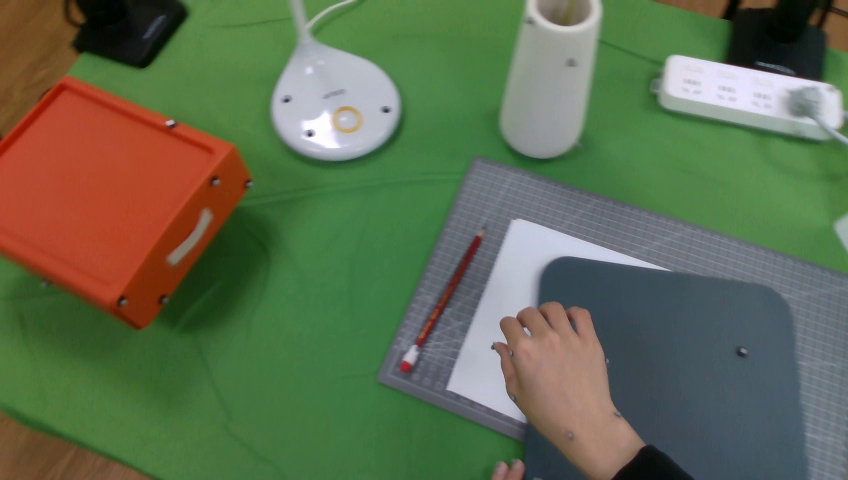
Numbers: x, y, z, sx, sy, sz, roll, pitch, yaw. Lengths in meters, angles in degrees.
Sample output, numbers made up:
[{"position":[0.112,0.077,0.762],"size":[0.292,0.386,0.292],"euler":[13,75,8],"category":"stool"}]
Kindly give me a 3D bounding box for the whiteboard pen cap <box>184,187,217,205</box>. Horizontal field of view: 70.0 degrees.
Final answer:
[{"position":[-0.238,-0.046,0.643],"size":[0.033,0.018,0.018],"euler":[8,63,13],"category":"whiteboard pen cap"}]

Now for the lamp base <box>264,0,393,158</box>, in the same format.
[{"position":[-0.128,-0.214,0.695],"size":[0.160,0.182,0.177],"euler":[-32,64,-14],"category":"lamp base"}]

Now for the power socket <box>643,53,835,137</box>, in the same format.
[{"position":[0.392,-0.182,0.756],"size":[0.226,0.033,0.072],"euler":[14,65,7],"category":"power socket"}]

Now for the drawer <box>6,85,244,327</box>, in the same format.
[{"position":[-0.328,-0.043,0.618],"size":[0.211,0.074,0.193],"euler":[23,67,12],"category":"drawer"}]

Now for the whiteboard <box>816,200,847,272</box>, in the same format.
[{"position":[0.584,-0.009,0.549],"size":[0.144,0.307,0.215],"euler":[-2,61,-21],"category":"whiteboard"}]

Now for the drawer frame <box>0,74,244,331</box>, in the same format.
[{"position":[-0.335,-0.043,0.621],"size":[0.213,0.083,0.201],"euler":[23,66,10],"category":"drawer frame"}]

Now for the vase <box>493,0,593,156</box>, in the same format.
[{"position":[0.129,-0.181,0.666],"size":[0.098,0.201,0.097],"euler":[-1,62,2],"category":"vase"}]

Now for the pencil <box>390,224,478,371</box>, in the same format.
[{"position":[0.015,0.057,0.652],"size":[0.012,0.012,0.193],"euler":[26,65,14],"category":"pencil"}]

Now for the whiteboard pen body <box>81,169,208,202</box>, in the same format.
[{"position":[-0.298,-0.056,0.648],"size":[0.140,0.017,0.017],"euler":[11,64,4],"category":"whiteboard pen body"}]

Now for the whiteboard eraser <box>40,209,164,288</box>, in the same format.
[{"position":[-0.323,0.009,0.611],"size":[0.112,0.042,0.055],"euler":[15,58,16],"category":"whiteboard eraser"}]

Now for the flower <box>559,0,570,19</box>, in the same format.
[{"position":[0.140,-0.232,0.599],"size":[0.038,0.364,0.043],"euler":[8,45,-3],"category":"flower"}]

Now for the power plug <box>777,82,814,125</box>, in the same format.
[{"position":[0.434,-0.156,0.716],"size":[0.035,0.053,0.072],"euler":[23,67,12],"category":"power plug"}]

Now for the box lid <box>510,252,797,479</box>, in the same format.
[{"position":[0.220,0.188,0.584],"size":[0.263,0.015,0.369],"euler":[8,65,4],"category":"box lid"}]
